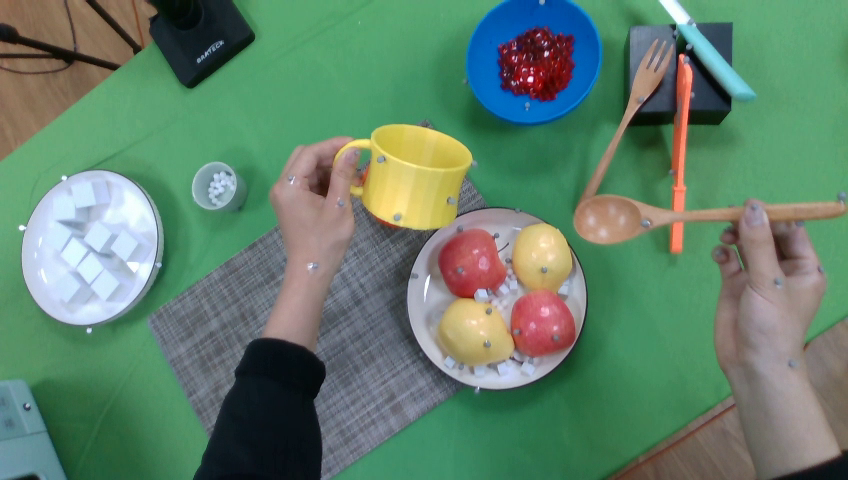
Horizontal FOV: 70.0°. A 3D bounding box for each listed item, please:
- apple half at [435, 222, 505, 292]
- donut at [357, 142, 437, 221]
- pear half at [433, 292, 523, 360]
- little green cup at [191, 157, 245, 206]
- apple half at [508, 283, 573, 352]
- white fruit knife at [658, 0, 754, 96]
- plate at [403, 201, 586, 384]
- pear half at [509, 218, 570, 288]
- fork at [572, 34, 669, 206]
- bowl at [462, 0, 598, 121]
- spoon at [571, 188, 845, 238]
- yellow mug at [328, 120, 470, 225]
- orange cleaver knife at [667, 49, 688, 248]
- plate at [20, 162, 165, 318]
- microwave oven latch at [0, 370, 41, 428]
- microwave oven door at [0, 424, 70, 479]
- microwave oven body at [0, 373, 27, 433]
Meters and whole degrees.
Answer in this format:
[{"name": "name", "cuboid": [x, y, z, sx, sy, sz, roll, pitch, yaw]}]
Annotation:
[{"name": "apple half", "cuboid": [0.050, 0.020, 0.694, 0.074, 0.053, 0.080, -18, 83, 9]}, {"name": "donut", "cuboid": [-0.033, -0.071, 0.735, 0.099, 0.048, 0.099, -1, 85, 13]}, {"name": "pear half", "cuboid": [0.066, 0.106, 0.685, 0.109, 0.056, 0.076, 29, 94, 9]}, {"name": "little green cup", "cuboid": [-0.264, -0.073, 0.786, 0.061, 0.039, 0.061, -1, 83, 11]}, {"name": "apple half", "cuboid": [0.122, 0.087, 0.673, 0.081, 0.033, 0.081, 2, 94, 31]}, {"name": "white fruit knife", "cuboid": [0.286, -0.237, 0.663, 0.027, 0.016, 0.206, -27, 75, -23]}, {"name": "plate", "cuboid": [0.081, 0.059, 0.702, 0.209, 0.038, 0.208, -1, 83, 10]}, {"name": "pear half", "cuboid": [0.126, 0.019, 0.684, 0.070, 0.031, 0.088, -6, 92, 33]}, {"name": "fork", "cuboid": [0.215, -0.126, 0.677, 0.028, 0.018, 0.208, 24, 108, 4]}, {"name": "bowl", "cuboid": [0.124, -0.203, 0.709, 0.151, 0.077, 0.151, -1, 84, 10]}, {"name": "spoon", "cuboid": [0.212, -0.023, 0.472, 0.193, 0.022, 0.041, -1, 90, 29]}, {"name": "yellow mug", "cuboid": [-0.026, -0.069, 0.582, 0.131, 0.099, 0.064, 6, 121, -15]}, {"name": "orange cleaver knife", "cuboid": [0.276, -0.098, 0.665, 0.012, 0.077, 0.212, 1, 109, 16]}, {"name": "plate", "cuboid": [-0.437, 0.001, 0.810, 0.207, 0.039, 0.207, -1, 83, 11]}, {"name": "microwave oven latch", "cuboid": [-0.529, 0.207, 0.783, 0.030, 0.029, 0.079, -30, 80, 5]}, {"name": "microwave oven door", "cuboid": [-0.439, 0.379, 0.642, 0.039, 0.245, 0.354, -32, 78, 5]}, {"name": "microwave oven body", "cuboid": [-0.582, 0.421, 0.669, 0.326, 0.261, 0.439, -32, 79, 5]}]
